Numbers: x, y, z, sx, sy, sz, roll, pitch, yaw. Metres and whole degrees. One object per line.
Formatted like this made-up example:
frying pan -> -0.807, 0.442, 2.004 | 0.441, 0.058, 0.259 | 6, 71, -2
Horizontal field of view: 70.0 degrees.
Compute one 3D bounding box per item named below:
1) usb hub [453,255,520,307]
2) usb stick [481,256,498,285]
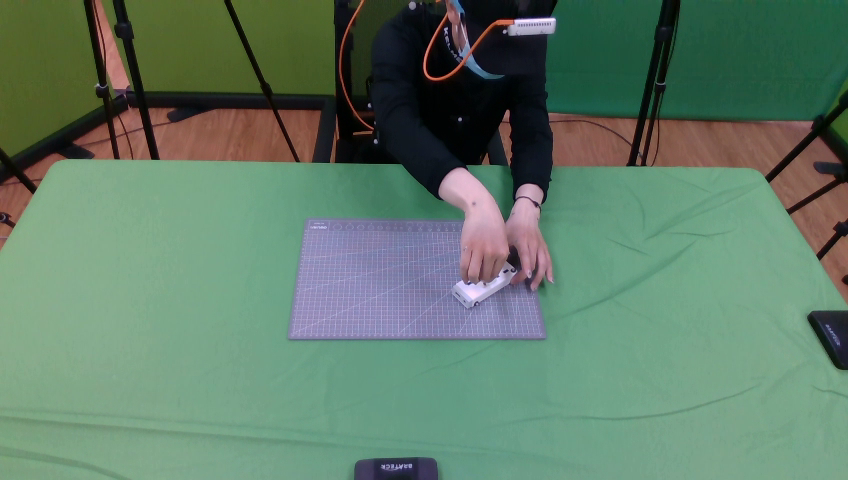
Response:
usb hub -> 0.116, 0.076, 1.122 | 0.125, 0.025, 0.049 | -29, 54, -26
usb stick -> 0.117, 0.060, 1.088 | 0.021, 0.059, 0.027 | -32, 46, -28
